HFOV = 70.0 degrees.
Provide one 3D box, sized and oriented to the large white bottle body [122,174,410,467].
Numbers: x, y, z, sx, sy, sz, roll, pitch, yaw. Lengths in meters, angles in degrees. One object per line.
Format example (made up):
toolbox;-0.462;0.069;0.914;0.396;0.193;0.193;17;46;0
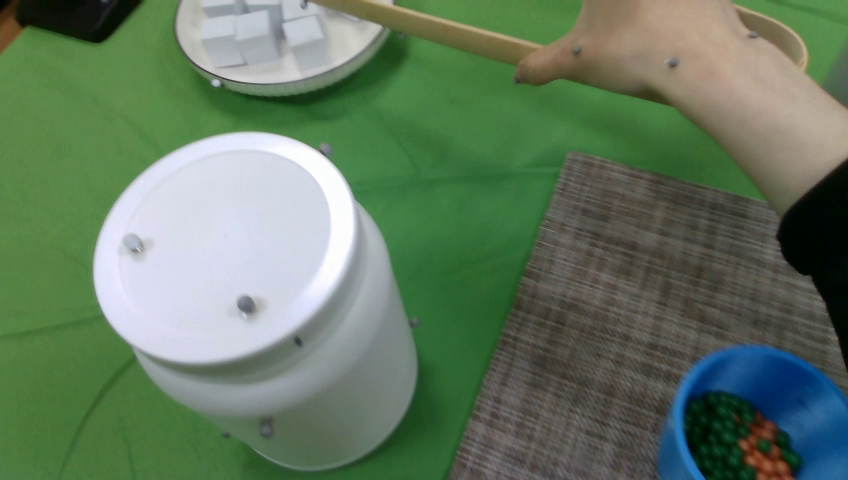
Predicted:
large white bottle body;-0.080;0.045;0.339;0.130;0.186;0.129;-2;60;4

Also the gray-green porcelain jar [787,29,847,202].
gray-green porcelain jar;0.326;-0.093;0.419;0.106;0.127;0.105;-2;60;4

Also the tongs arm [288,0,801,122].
tongs arm;0.048;-0.149;0.426;0.382;0.027;0.050;26;69;26

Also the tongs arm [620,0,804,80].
tongs arm;0.086;-0.200;0.444;0.384;0.028;0.028;36;70;28

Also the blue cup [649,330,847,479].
blue cup;0.162;0.112;0.324;0.092;0.101;0.092;-3;59;6

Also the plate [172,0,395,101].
plate;-0.128;-0.207;0.575;0.207;0.039;0.206;-2;60;4

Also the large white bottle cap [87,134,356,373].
large white bottle cap;-0.087;0.001;0.267;0.115;0.018;0.114;-2;59;4
